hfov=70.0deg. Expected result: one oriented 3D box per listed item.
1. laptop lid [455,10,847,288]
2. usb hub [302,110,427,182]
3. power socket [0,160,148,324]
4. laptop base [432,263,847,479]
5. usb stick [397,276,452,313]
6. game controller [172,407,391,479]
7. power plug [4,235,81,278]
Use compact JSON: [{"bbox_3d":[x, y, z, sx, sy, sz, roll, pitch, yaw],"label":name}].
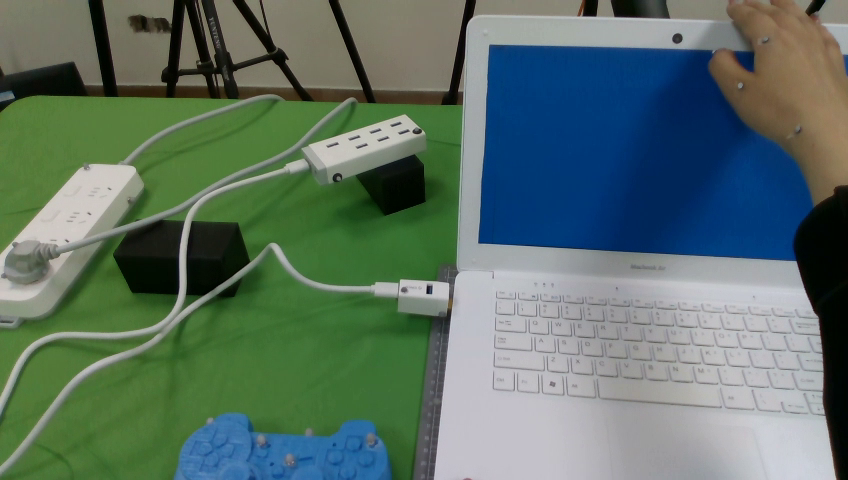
[{"bbox_3d":[0.207,-0.073,0.528,0.356,0.242,0.013,2,14,5],"label":"laptop lid"},{"bbox_3d":[-0.061,-0.101,0.643,0.125,0.025,0.049,-23,48,-20],"label":"usb hub"},{"bbox_3d":[-0.364,-0.010,0.623,0.072,0.033,0.225,5,43,6],"label":"power socket"},{"bbox_3d":[0.191,0.119,0.472,0.354,0.023,0.233,3,47,5],"label":"laptop base"},{"bbox_3d":[0.006,0.049,0.534,0.059,0.027,0.021,7,41,-3],"label":"usb stick"},{"bbox_3d":[-0.097,0.162,0.416,0.155,0.052,0.096,3,38,5],"label":"game controller"},{"bbox_3d":[-0.345,0.024,0.549,0.072,0.053,0.035,14,44,13],"label":"power plug"}]
